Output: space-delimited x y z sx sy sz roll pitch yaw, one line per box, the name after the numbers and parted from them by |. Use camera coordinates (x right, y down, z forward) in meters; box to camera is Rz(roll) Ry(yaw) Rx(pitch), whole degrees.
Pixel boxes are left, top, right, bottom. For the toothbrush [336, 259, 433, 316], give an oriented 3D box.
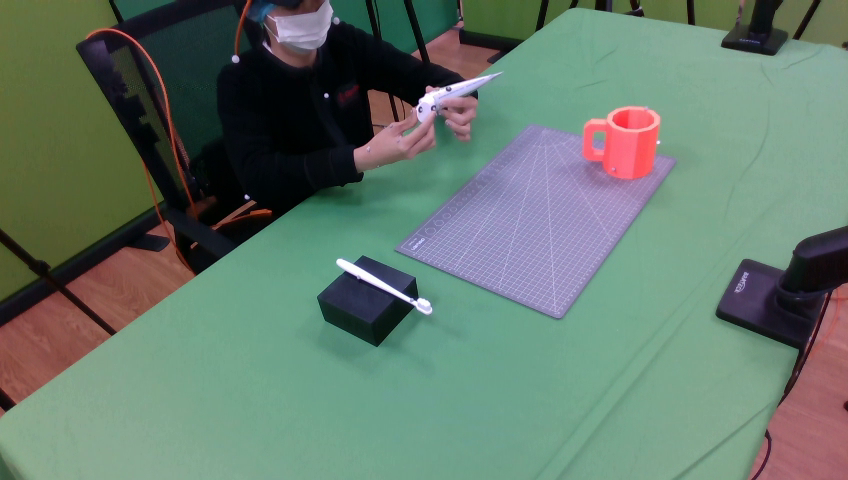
-0.059 0.062 0.839 0.180 0.017 0.014 24 54 33 | toothbrush

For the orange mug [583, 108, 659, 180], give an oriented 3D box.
0.343 -0.171 1.061 0.126 0.101 0.083 10 43 15 | orange mug

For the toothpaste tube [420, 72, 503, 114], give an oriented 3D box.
0.062 -0.258 1.053 0.166 0.034 0.055 -28 11 -20 | toothpaste tube

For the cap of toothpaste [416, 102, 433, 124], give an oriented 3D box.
-0.001 -0.212 1.007 0.011 0.037 0.037 14 44 38 | cap of toothpaste
